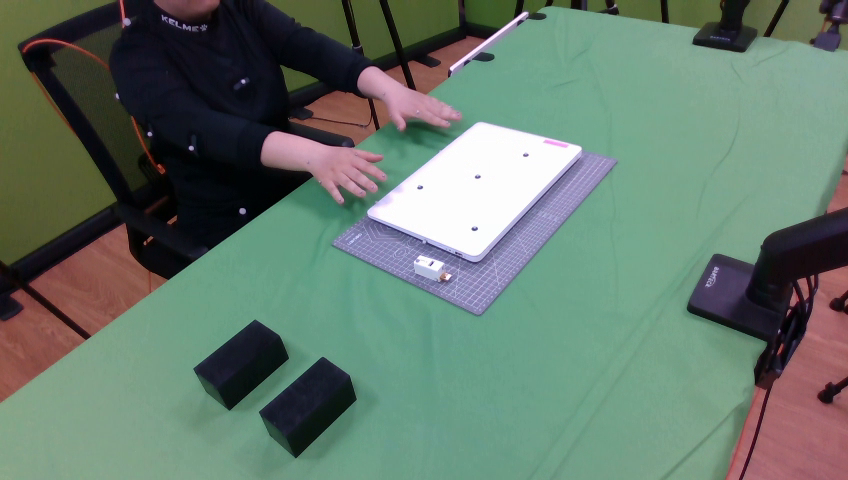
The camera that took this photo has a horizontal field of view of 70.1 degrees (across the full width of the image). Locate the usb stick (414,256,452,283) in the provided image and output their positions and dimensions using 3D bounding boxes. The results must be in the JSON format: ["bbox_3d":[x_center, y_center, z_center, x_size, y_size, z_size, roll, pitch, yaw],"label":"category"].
[{"bbox_3d":[0.015,0.046,0.905,0.059,0.027,0.021,22,48,25],"label":"usb stick"}]

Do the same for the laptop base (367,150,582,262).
[{"bbox_3d":[0.098,-0.097,1.071,0.233,0.023,0.355,20,47,33],"label":"laptop base"}]

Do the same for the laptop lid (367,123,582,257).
[{"bbox_3d":[0.095,-0.106,1.065,0.239,0.013,0.358,23,48,34],"label":"laptop lid"}]
